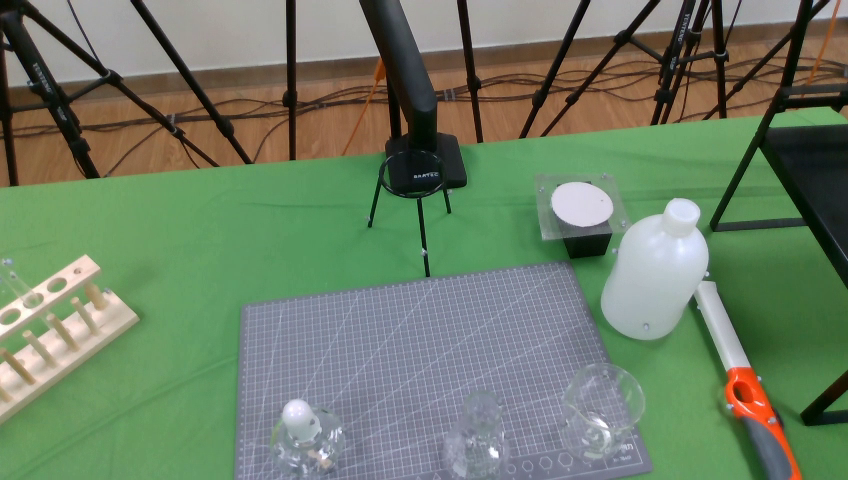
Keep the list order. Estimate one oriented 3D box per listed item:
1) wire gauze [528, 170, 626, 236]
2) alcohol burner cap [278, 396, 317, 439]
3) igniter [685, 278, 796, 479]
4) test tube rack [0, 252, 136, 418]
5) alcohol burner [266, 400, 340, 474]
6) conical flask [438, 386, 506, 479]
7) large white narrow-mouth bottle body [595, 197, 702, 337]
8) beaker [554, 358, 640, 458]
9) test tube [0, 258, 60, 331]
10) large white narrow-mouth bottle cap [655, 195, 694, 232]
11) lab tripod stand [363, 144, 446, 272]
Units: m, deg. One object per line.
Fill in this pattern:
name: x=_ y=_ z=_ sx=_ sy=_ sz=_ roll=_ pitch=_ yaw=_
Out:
wire gauze: x=0.211 y=-0.056 z=0.848 sx=0.121 sy=0.011 sz=0.124 roll=-1 pitch=50 yaw=-1
alcohol burner cap: x=-0.128 y=0.174 z=0.602 sx=0.034 sy=0.048 sz=0.033 roll=-3 pitch=51 yaw=4
igniter: x=0.370 y=0.160 z=0.722 sx=0.057 sy=0.025 sz=0.273 roll=3 pitch=50 yaw=-10
test tube rack: x=-0.476 y=0.128 z=0.708 sx=0.066 sy=0.086 sz=0.242 roll=33 pitch=58 yaw=24
alcohol burner: x=-0.127 y=0.197 z=0.631 sx=0.078 sy=0.120 sz=0.077 roll=1 pitch=49 yaw=-1
conical flask: x=0.052 y=0.195 z=0.627 sx=0.075 sy=0.123 sz=0.074 roll=0 pitch=50 yaw=1
large white narrow-mouth bottle body: x=0.272 y=0.027 z=0.723 sx=0.102 sy=0.196 sz=0.101 roll=0 pitch=50 yaw=1
beaker: x=0.179 y=0.184 z=0.651 sx=0.084 sy=0.101 sz=0.073 roll=-3 pitch=50 yaw=-1
test tube: x=-0.459 y=0.064 z=0.696 sx=0.017 sy=0.151 sz=0.017 roll=1 pitch=53 yaw=-1
large white narrow-mouth bottle cap: x=0.271 y=-0.030 z=0.658 sx=0.038 sy=0.024 sz=0.037 roll=0 pitch=50 yaw=0
lab tripod stand: x=-0.018 y=-0.050 z=0.826 sx=0.148 sy=0.132 sz=0.147 roll=1 pitch=51 yaw=-1
